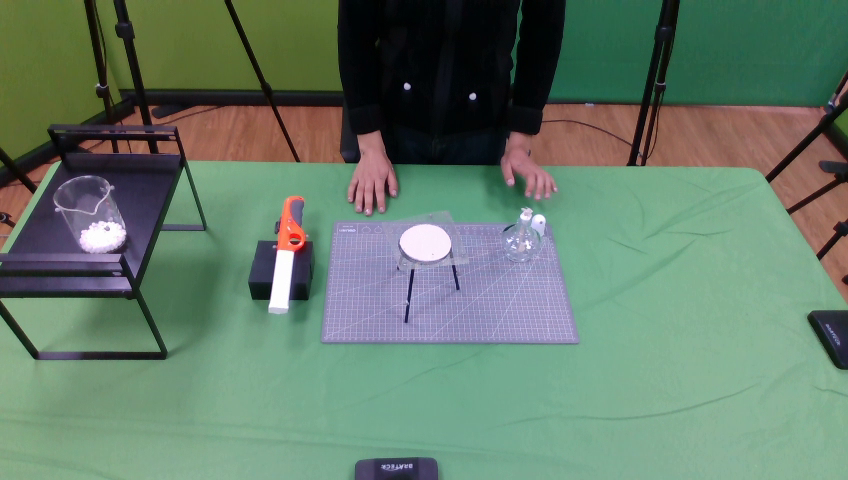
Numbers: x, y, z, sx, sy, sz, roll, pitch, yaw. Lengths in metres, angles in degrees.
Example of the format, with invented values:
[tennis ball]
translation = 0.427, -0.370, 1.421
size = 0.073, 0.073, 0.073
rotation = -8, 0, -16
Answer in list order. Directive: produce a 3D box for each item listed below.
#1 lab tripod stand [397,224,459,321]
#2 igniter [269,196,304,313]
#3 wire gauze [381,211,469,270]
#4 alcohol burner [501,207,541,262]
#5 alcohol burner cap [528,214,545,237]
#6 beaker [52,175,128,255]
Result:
[lab tripod stand]
translation = -0.003, 0.052, 1.067
size = 0.148, 0.132, 0.147
rotation = 3, 48, -3
[igniter]
translation = -0.249, 0.016, 1.095
size = 0.057, 0.025, 0.274
rotation = 8, 46, -13
[wire gauze]
translation = 0.000, 0.001, 1.023
size = 0.125, 0.011, 0.120
rotation = -9, 48, -13
[alcohol burner]
translation = 0.188, -0.015, 1.160
size = 0.078, 0.120, 0.077
rotation = 1, 44, -1
[alcohol burner cap]
translation = 0.231, -0.032, 1.230
size = 0.034, 0.048, 0.033
rotation = 2, 46, -2
[beaker]
translation = -0.482, -0.032, 0.888
size = 0.074, 0.101, 0.083
rotation = -28, 55, -27
